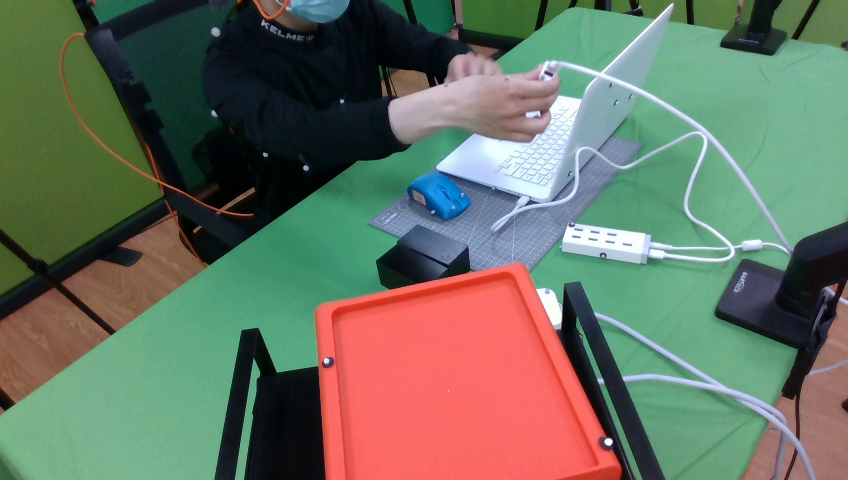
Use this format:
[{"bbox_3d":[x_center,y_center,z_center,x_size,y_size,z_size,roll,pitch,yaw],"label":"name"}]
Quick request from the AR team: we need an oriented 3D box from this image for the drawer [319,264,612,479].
[{"bbox_3d":[0.020,0.129,0.497,0.195,0.073,0.210,-11,41,-5],"label":"drawer"}]

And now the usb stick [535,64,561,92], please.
[{"bbox_3d":[0.166,-0.217,0.818,0.021,0.027,0.059,23,1,0],"label":"usb stick"}]

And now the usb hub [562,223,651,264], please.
[{"bbox_3d":[0.279,0.005,0.925,0.124,0.025,0.049,10,43,19],"label":"usb hub"}]

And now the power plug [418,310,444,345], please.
[{"bbox_3d":[0.007,0.122,0.785,0.035,0.053,0.072,0,39,7],"label":"power plug"}]

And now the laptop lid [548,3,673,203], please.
[{"bbox_3d":[0.320,-0.235,1.026,0.013,0.242,0.357,31,50,20],"label":"laptop lid"}]

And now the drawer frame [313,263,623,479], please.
[{"bbox_3d":[0.021,0.130,0.493,0.202,0.083,0.212,-11,41,-6],"label":"drawer frame"}]

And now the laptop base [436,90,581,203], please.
[{"bbox_3d":[0.214,-0.192,1.172,0.233,0.023,0.355,19,46,32],"label":"laptop base"}]

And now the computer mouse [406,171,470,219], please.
[{"bbox_3d":[0.024,-0.082,1.049,0.063,0.041,0.116,-30,50,-27],"label":"computer mouse"}]

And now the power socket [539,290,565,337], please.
[{"bbox_3d":[0.081,0.112,0.822,0.227,0.033,0.072,-6,41,0],"label":"power socket"}]
